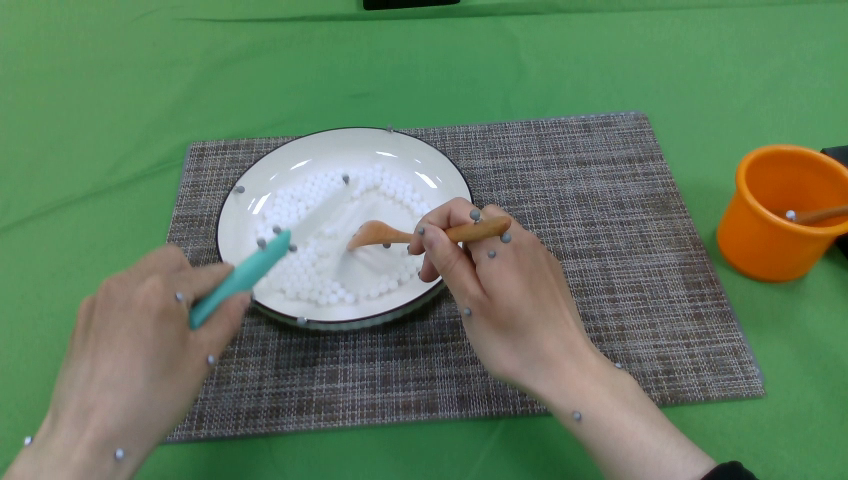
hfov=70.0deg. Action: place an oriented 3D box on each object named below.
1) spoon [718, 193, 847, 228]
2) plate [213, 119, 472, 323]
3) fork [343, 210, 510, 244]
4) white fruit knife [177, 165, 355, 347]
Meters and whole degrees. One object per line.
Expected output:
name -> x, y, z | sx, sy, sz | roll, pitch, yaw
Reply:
spoon -> 0.302, -0.026, 0.432 | 0.041, 0.193, 0.022 | -33, 102, -25
plate -> -0.064, -0.018, 0.501 | 0.209, 0.038, 0.207 | -1, 52, 1
fork -> -0.010, -0.009, 0.413 | 0.206, 0.019, 0.028 | 0, 49, 56
white fruit knife -> -0.107, -0.002, 0.450 | 0.016, 0.028, 0.206 | 19, 45, 19
